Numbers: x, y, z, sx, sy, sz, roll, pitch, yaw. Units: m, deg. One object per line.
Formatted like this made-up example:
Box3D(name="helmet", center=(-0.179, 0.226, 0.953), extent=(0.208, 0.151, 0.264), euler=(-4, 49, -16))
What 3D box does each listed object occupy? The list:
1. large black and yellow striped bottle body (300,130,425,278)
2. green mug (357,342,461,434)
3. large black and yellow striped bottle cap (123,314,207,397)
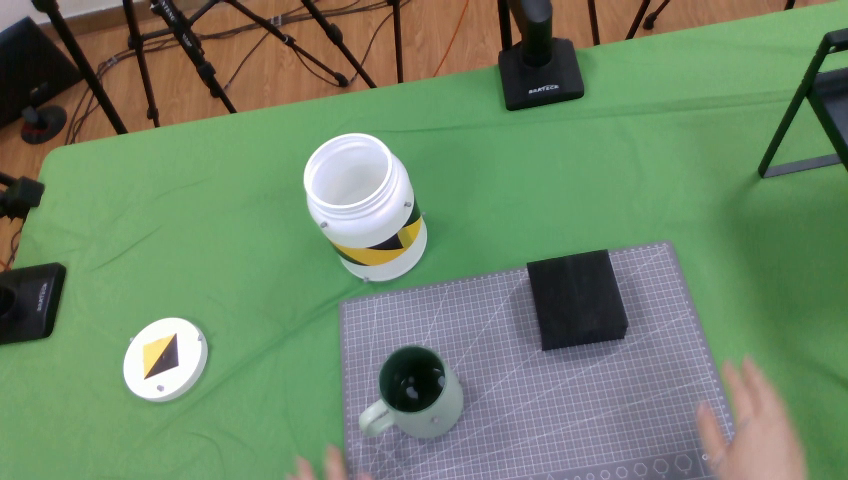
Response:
Box3D(name="large black and yellow striped bottle body", center=(-0.078, -0.043, 0.788), extent=(0.130, 0.186, 0.129), euler=(-5, 61, 9))
Box3D(name="green mug", center=(-0.020, 0.181, 0.701), extent=(0.125, 0.106, 0.091), euler=(-34, 61, -8))
Box3D(name="large black and yellow striped bottle cap", center=(-0.357, 0.158, 0.833), extent=(0.115, 0.019, 0.114), euler=(-5, 61, 9))
